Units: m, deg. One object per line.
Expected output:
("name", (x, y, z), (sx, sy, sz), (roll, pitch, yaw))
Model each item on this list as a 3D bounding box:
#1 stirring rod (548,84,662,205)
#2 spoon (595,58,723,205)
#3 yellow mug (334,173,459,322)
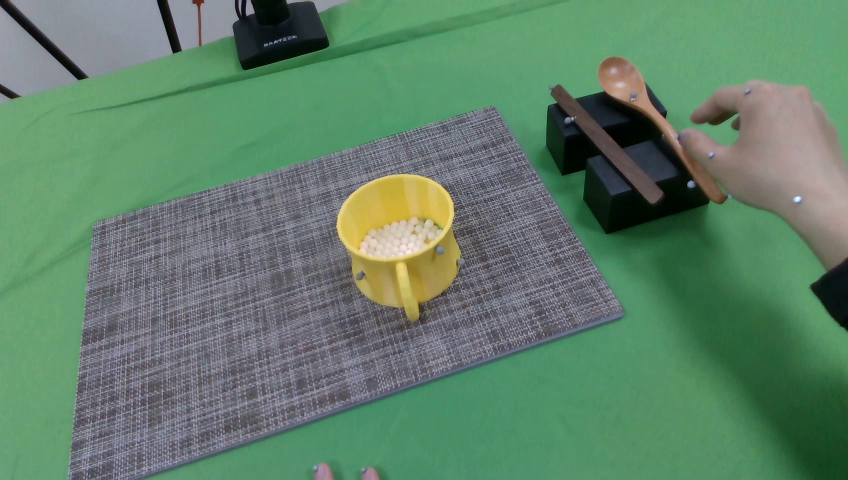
("stirring rod", (0.158, -0.092, 0.547), (0.014, 0.006, 0.174), (-46, 47, 21))
("spoon", (0.209, -0.103, 0.545), (0.041, 0.022, 0.191), (-17, 51, -6))
("yellow mug", (-0.020, 0.011, 0.517), (0.100, 0.064, 0.129), (-11, 50, 0))
